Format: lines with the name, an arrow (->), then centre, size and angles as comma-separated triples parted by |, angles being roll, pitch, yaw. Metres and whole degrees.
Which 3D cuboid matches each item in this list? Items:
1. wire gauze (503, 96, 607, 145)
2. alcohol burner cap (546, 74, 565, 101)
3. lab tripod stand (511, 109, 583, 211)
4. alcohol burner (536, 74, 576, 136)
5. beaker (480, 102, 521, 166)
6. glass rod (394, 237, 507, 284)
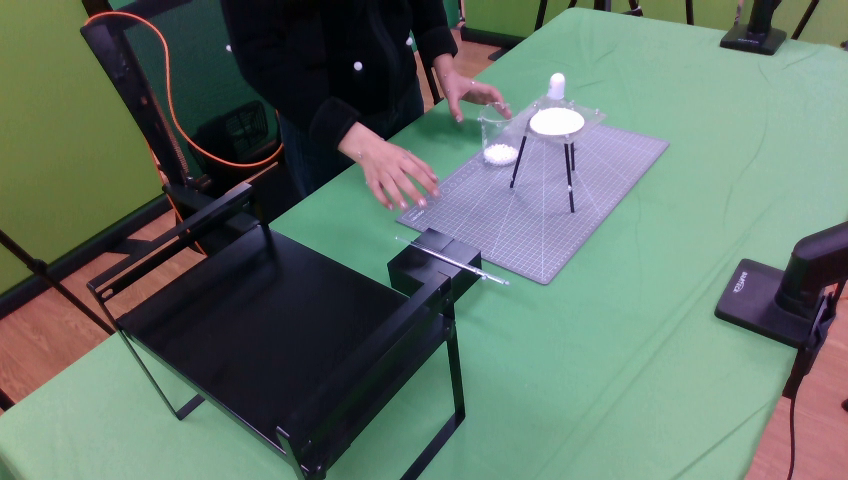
wire gauze -> 0.211, -0.192, 0.975 | 0.120, 0.011, 0.125 | 24, 49, 32
alcohol burner cap -> 0.251, -0.292, 1.151 | 0.034, 0.048, 0.033 | 0, 41, 1
lab tripod stand -> 0.220, -0.138, 1.014 | 0.148, 0.132, 0.147 | -3, 41, 3
alcohol burner -> 0.256, -0.264, 1.173 | 0.078, 0.119, 0.077 | -6, 40, 5
beaker -> 0.143, -0.196, 1.120 | 0.074, 0.101, 0.084 | 3, 41, 12
glass rod -> 0.033, 0.028, 0.875 | 0.198, 0.008, 0.008 | 21, 48, 31
